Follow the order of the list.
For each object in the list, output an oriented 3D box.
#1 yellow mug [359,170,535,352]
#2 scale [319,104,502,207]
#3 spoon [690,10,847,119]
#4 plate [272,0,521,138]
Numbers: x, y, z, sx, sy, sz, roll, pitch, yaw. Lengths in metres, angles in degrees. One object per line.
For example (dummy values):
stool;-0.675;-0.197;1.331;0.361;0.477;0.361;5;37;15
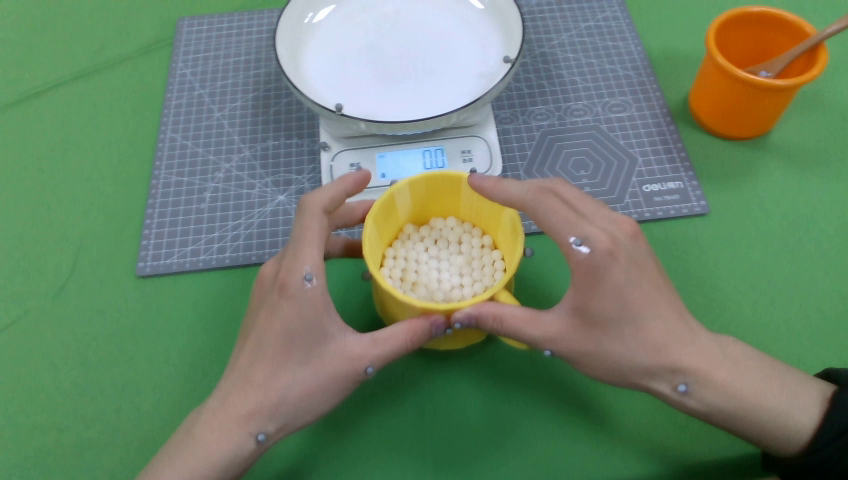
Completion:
yellow mug;0.022;0.022;0.387;0.100;0.064;0.130;-39;65;-20
scale;-0.018;-0.122;0.531;0.149;0.032;0.199;-7;59;-1
spoon;0.304;-0.154;0.474;0.022;0.193;0.041;16;53;-41
plate;-0.023;-0.164;0.518;0.209;0.038;0.207;0;59;1
